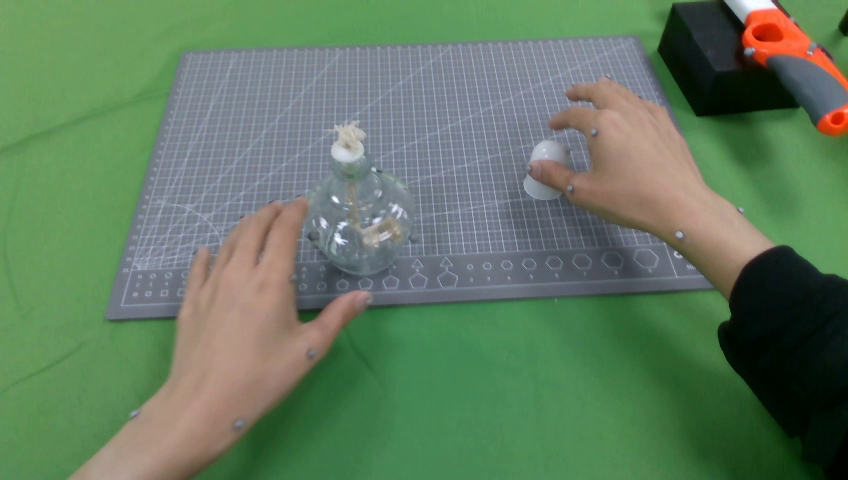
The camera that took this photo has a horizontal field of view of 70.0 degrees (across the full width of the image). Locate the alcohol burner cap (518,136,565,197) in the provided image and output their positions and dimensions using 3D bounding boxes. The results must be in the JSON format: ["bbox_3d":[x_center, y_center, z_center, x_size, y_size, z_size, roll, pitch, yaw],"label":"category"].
[{"bbox_3d":[0.093,-0.060,0.472,0.034,0.048,0.033,2,53,-2],"label":"alcohol burner cap"}]

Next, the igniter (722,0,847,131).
[{"bbox_3d":[0.291,-0.189,0.522,0.057,0.025,0.273,-7,52,-2],"label":"igniter"}]

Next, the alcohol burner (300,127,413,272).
[{"bbox_3d":[-0.047,-0.031,0.405,0.078,0.120,0.077,0,55,1],"label":"alcohol burner"}]
